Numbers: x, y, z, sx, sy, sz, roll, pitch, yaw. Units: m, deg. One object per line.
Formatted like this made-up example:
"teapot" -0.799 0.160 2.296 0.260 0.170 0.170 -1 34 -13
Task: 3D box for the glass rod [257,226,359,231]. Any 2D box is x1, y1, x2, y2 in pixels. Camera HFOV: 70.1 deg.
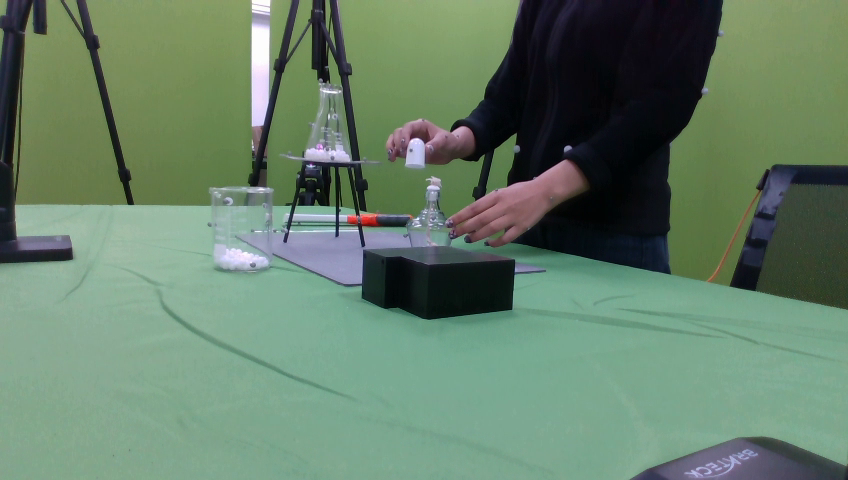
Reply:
"glass rod" -0.216 -0.022 1.151 0.201 0.008 0.008 -2 8 -28

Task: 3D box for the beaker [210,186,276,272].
"beaker" -0.224 -0.014 0.738 0.084 0.100 0.074 4 7 16

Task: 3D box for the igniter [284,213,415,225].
"igniter" -0.154 -0.045 1.282 0.278 0.025 0.057 0 -3 -20

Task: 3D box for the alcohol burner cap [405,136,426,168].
"alcohol burner cap" -0.012 -0.138 0.939 0.034 0.048 0.034 3 -5 1

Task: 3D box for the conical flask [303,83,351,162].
"conical flask" -0.151 -0.186 0.963 0.075 0.122 0.075 4 6 0

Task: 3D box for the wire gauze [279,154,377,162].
"wire gauze" -0.149 -0.128 0.974 0.124 0.011 0.122 7 6 41

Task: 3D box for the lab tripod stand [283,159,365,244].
"lab tripod stand" -0.151 -0.063 0.983 0.148 0.131 0.148 4 7 0

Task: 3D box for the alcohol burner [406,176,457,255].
"alcohol burner" 0.012 -0.038 0.919 0.078 0.119 0.078 2 5 0
